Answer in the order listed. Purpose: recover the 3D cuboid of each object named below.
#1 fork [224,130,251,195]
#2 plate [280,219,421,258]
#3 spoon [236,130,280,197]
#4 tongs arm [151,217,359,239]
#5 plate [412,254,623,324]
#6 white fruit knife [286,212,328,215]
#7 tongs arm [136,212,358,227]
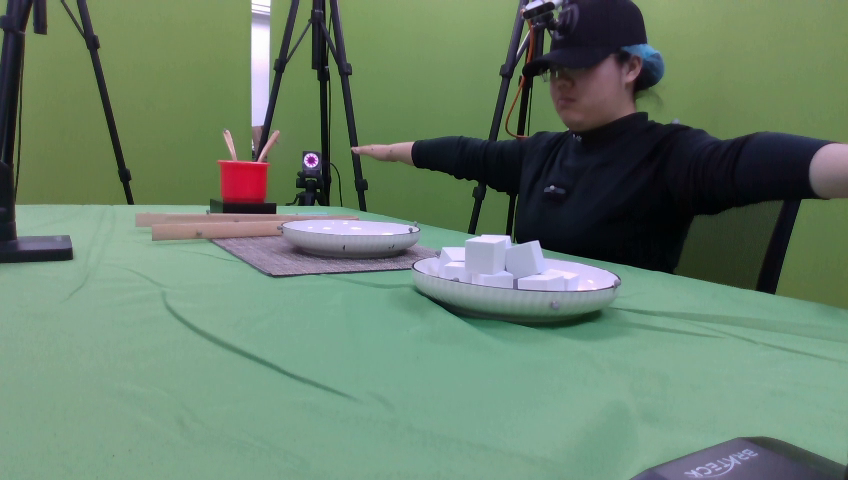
[{"bbox_3d":[-0.372,-0.156,1.193,0.028,0.018,0.206,-17,54,-14],"label":"fork"},{"bbox_3d":[-0.108,-0.002,0.902,0.208,0.039,0.207,3,7,0],"label":"plate"},{"bbox_3d":[-0.321,-0.154,1.192,0.041,0.193,0.022,1,-37,19],"label":"spoon"},{"bbox_3d":[-0.264,-0.023,1.032,0.390,0.028,0.028,-3,4,-42],"label":"tongs arm"},{"bbox_3d":[0.090,0.047,0.609,0.209,0.038,0.209,2,7,0],"label":"plate"},{"bbox_3d":[-0.304,-0.050,1.328,0.208,0.016,0.027,-4,-19,-30],"label":"white fruit knife"},{"bbox_3d":[-0.308,-0.034,1.100,0.387,0.026,0.050,-1,6,-29],"label":"tongs arm"}]
